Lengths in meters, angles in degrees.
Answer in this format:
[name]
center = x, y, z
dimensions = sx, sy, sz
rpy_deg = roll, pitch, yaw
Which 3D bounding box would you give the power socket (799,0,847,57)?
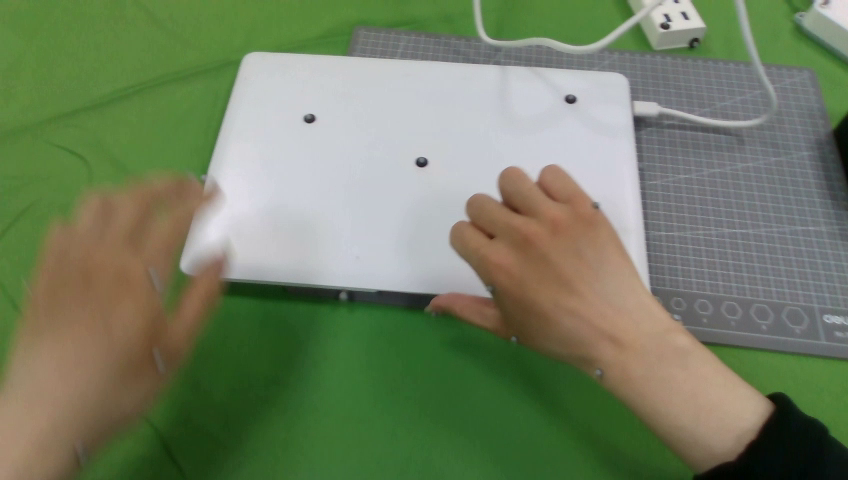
[power socket]
center = 0.467, -0.170, 0.569
dimensions = 0.072, 0.033, 0.224
rpy_deg = -30, 64, -18

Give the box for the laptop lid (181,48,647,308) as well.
[laptop lid]
center = -0.001, -0.065, 0.500
dimensions = 0.356, 0.013, 0.240
rpy_deg = 6, 62, 4

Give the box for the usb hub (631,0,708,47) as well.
[usb hub]
center = 0.239, -0.250, 0.619
dimensions = 0.049, 0.025, 0.124
rpy_deg = -9, 60, -5

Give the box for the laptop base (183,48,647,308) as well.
[laptop base]
center = 0.000, -0.061, 0.511
dimensions = 0.354, 0.023, 0.233
rpy_deg = 4, 63, 3
